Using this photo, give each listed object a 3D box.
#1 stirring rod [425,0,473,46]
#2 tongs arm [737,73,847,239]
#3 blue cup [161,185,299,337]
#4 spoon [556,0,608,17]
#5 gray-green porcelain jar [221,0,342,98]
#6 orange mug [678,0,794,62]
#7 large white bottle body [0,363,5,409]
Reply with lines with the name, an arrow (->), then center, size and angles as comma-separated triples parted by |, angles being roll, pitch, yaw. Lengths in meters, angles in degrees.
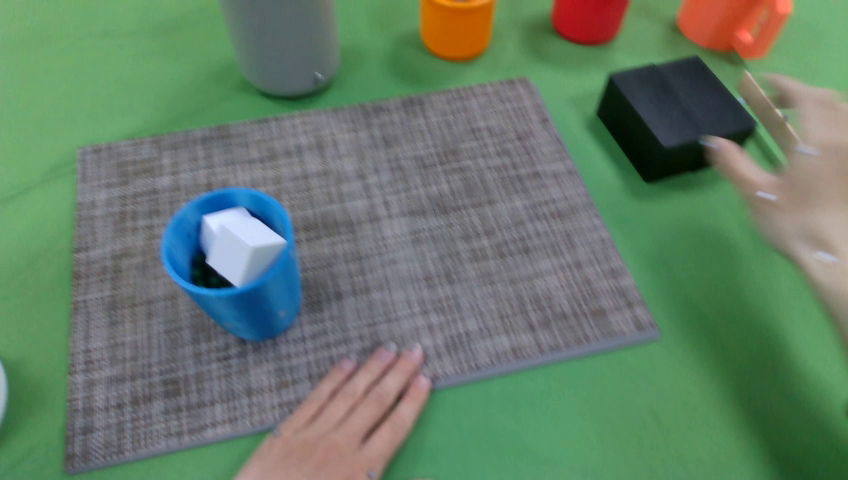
stirring rod -> 0.063, -0.272, 0.631 | 0.176, 0.006, 0.014 | -44, 63, 20
tongs arm -> 0.397, -0.012, 0.537 | 0.051, 0.027, 0.381 | -7, 58, -14
blue cup -> -0.131, 0.024, 0.444 | 0.092, 0.101, 0.092 | 0, 58, 0
spoon -> 0.221, -0.269, 0.633 | 0.192, 0.022, 0.041 | -5, 41, 50
gray-green porcelain jar -> -0.136, -0.212, 0.589 | 0.106, 0.127, 0.105 | 1, 57, -1
orange mug -> 0.346, -0.259, 0.658 | 0.083, 0.101, 0.125 | -12, 54, -10
large white bottle body -> -0.361, 0.075, 0.354 | 0.131, 0.186, 0.129 | 1, 56, -2
